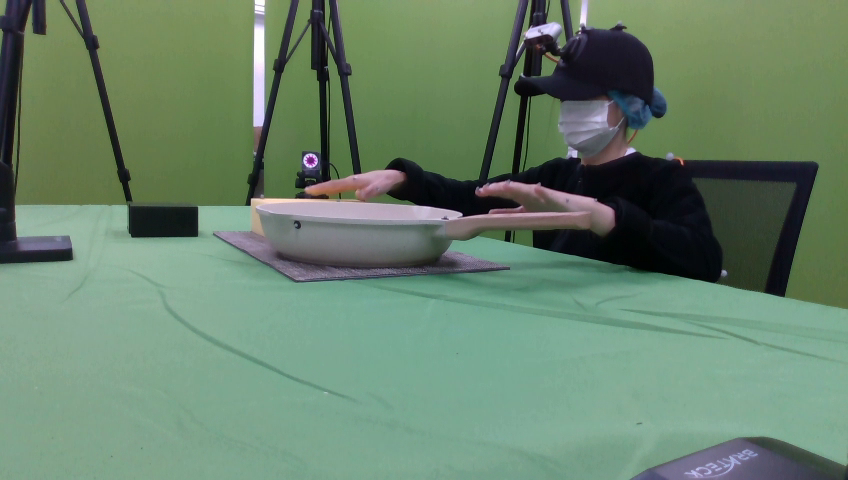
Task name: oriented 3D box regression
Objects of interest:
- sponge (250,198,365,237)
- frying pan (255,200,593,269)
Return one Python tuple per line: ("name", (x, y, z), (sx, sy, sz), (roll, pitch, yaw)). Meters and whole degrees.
("sponge", (-0.194, -0.039, 1.081), (0.208, 0.061, 0.117), (-2, 9, -33))
("frying pan", (-0.011, -0.017, 0.802), (0.485, 0.102, 0.308), (-2, 4, 39))
